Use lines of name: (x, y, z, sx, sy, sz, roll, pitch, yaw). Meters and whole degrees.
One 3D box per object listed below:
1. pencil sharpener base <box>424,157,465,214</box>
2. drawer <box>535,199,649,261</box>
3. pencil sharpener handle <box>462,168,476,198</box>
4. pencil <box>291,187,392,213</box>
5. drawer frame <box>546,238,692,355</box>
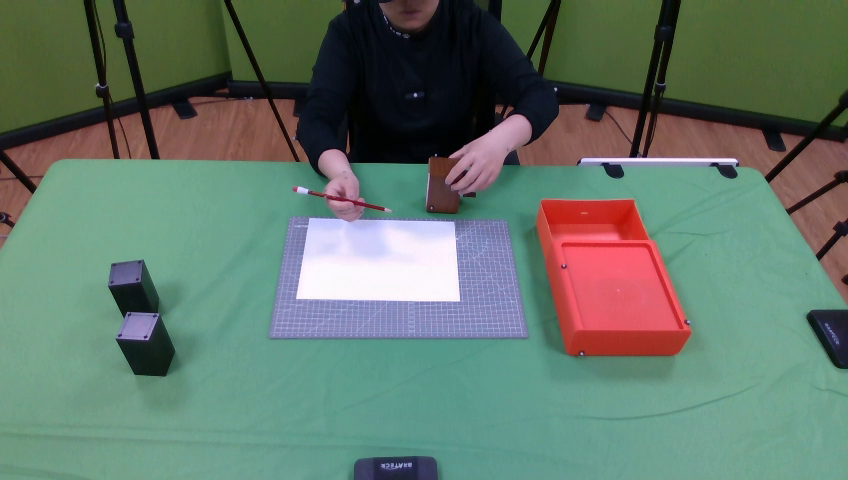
pencil sharpener base: (0.042, -0.110, 1.245, 0.077, 0.107, 0.061, 4, 45, -1)
drawer: (0.332, 0.015, 1.170, 0.195, 0.073, 0.210, 0, 46, -5)
pencil sharpener handle: (0.093, -0.115, 1.237, 0.030, 0.068, 0.036, 4, 42, -1)
pencil: (-0.154, -0.074, 1.133, 0.194, 0.012, 0.012, 13, 46, 0)
drawer frame: (0.338, 0.097, 1.086, 0.202, 0.083, 0.212, 0, 46, -4)
